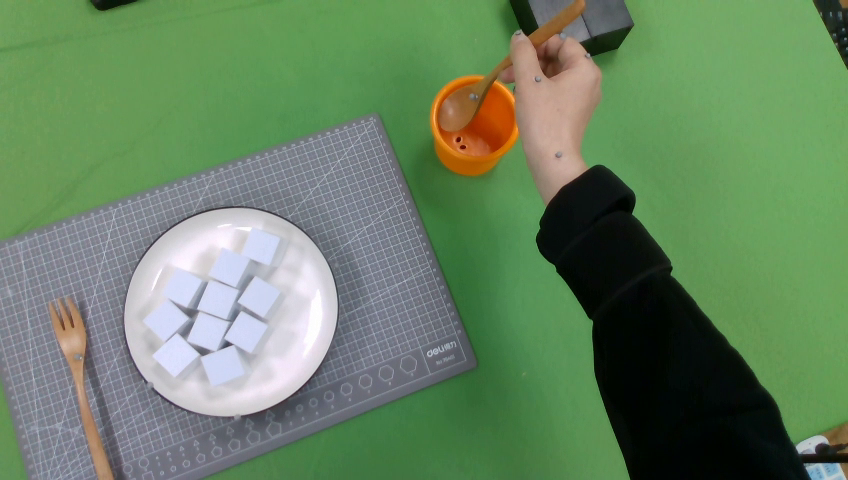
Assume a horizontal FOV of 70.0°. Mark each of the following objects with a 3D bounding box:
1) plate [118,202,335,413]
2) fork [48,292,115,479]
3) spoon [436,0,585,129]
[{"bbox_3d":[-0.193,0.066,0.609,0.208,0.039,0.207,1,80,-3],"label":"plate"},{"bbox_3d":[-0.334,0.151,0.596,0.028,0.019,0.206,-18,79,-11],"label":"fork"},{"bbox_3d":[0.068,-0.151,0.532,0.022,0.193,0.041,2,73,-29],"label":"spoon"}]
